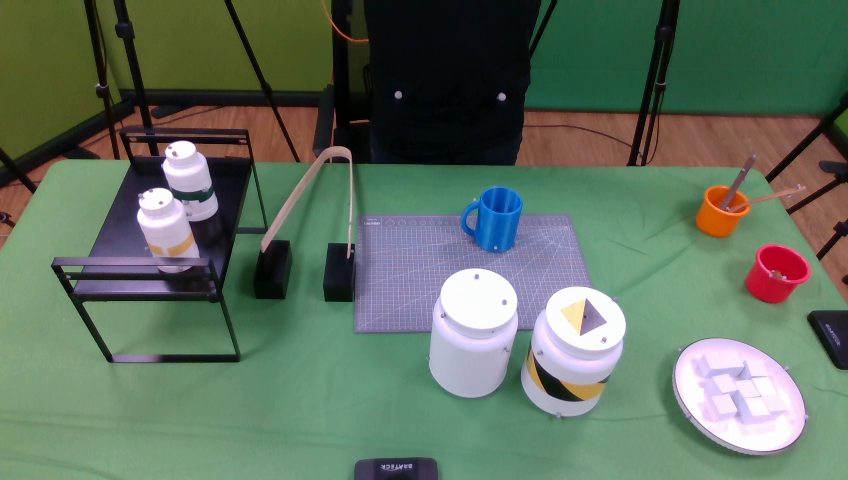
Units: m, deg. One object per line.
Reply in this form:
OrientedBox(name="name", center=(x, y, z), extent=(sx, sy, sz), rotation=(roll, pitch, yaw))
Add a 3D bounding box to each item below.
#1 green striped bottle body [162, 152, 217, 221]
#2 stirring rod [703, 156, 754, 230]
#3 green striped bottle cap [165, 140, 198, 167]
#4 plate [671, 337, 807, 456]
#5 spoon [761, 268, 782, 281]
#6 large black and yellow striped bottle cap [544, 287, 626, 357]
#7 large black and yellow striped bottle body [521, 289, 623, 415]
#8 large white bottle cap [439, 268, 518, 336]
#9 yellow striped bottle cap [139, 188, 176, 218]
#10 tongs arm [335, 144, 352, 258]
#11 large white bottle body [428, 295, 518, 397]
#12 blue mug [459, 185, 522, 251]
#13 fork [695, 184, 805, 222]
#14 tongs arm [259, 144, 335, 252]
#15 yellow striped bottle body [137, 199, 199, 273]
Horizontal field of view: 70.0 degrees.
OrientedBox(name="green striped bottle body", center=(-0.363, -0.092, 0.939), extent=(0.063, 0.120, 0.063), rotation=(2, 46, -2))
OrientedBox(name="stirring rod", center=(0.631, -0.097, 1.258), extent=(0.014, 0.006, 0.176), rotation=(33, 95, 30))
OrientedBox(name="green striped bottle cap", center=(-0.361, -0.129, 0.902), extent=(0.044, 0.020, 0.044), rotation=(3, 48, -3))
OrientedBox(name="plate", center=(0.503, 0.254, 0.984), extent=(0.208, 0.039, 0.206), rotation=(2, 46, -2))
OrientedBox(name="spoon", center=(0.638, 0.060, 1.105), extent=(0.041, 0.021, 0.194), rotation=(38, 11, 24))
OrientedBox(name="large black and yellow striped bottle cap", center=(0.232, 0.116, 0.876), extent=(0.115, 0.019, 0.114), rotation=(2, 46, -1))
OrientedBox(name="large black and yellow striped bottle body", center=(0.228, 0.173, 0.938), extent=(0.131, 0.185, 0.130), rotation=(2, 47, -2))
OrientedBox(name="large white bottle cap", center=(0.080, 0.089, 0.888), extent=(0.115, 0.018, 0.114), rotation=(2, 47, -2))
OrientedBox(name="yellow striped bottle cap", center=(-0.363, -0.051, 0.826), extent=(0.044, 0.019, 0.044), rotation=(1, 47, -1))
OrientedBox(name="tongs arm", center=(-0.170, -0.092, 1.234), extent=(0.051, 0.026, 0.382), rotation=(0, 37, -3))
OrientedBox(name="large white bottle body", center=(0.076, 0.147, 0.950), extent=(0.131, 0.185, 0.130), rotation=(2, 46, -2))
OrientedBox(name="blue mug", center=(0.127, -0.042, 1.185), extent=(0.116, 0.106, 0.082), rotation=(0, 47, -4))
OrientedBox(name="fork", center=(0.657, -0.075, 1.230), extent=(0.207, 0.019, 0.028), rotation=(-23, 34, 37))
OrientedBox(name="tongs arm", center=(-0.252, -0.098, 1.232), extent=(0.028, 0.028, 0.385), rotation=(5, 36, 10))
OrientedBox(name="yellow striped bottle body", center=(-0.366, -0.014, 0.864), extent=(0.063, 0.121, 0.062), rotation=(2, 46, -2))
